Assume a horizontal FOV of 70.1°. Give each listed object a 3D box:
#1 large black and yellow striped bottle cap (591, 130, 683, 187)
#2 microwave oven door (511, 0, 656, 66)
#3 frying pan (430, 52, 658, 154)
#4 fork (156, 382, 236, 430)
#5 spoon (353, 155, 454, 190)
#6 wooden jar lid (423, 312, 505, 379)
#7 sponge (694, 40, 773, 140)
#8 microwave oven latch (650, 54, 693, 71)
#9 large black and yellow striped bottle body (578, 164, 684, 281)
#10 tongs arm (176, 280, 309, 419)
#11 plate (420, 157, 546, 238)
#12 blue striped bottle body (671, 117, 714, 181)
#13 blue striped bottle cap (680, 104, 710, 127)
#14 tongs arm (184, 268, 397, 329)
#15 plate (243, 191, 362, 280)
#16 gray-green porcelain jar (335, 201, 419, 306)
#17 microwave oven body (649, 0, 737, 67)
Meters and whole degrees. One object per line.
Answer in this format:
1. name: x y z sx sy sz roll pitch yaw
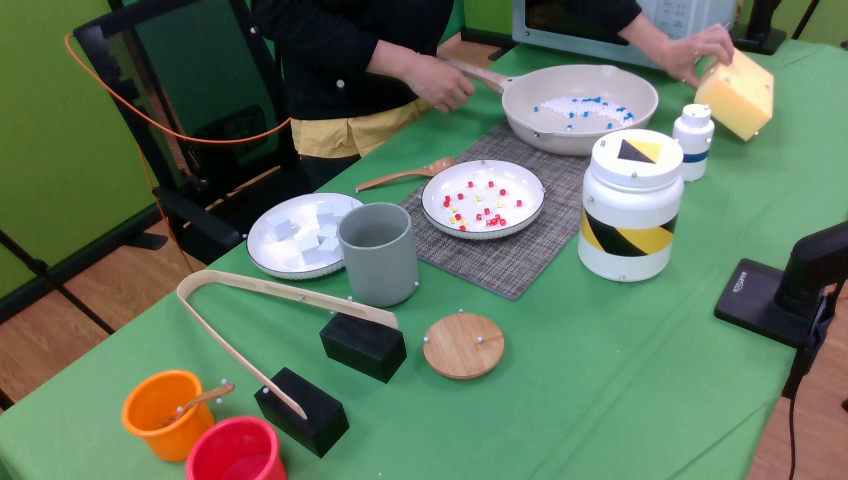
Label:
1. large black and yellow striped bottle cap: 0.282 -0.111 0.803 0.115 0.019 0.114 -3 41 3
2. microwave oven door: 0.351 -0.540 1.349 0.353 0.245 0.039 24 50 31
3. frying pan: 0.215 -0.302 1.224 0.484 0.103 0.308 28 49 24
4. fork: -0.262 0.189 0.690 0.018 0.206 0.028 49 43 -7
5. spoon: -0.038 -0.123 1.116 0.194 0.022 0.041 -12 58 -4
6. wooden jar lid: 0.053 0.142 0.800 0.108 0.021 0.108 -5 39 4
7. sponge: 0.582 -0.285 1.129 0.118 0.061 0.207 36 44 1
8. microwave oven latch: 0.531 -0.386 1.301 0.078 0.029 0.030 25 51 33
9. large black and yellow striped bottle body: 0.292 -0.046 0.859 0.131 0.185 0.130 -4 41 4
10. tongs arm: -0.254 0.133 0.801 0.028 0.028 0.384 -41 41 -23
11. plate: 0.099 -0.067 1.017 0.209 0.038 0.208 -4 40 4
12. blue striped bottle body: 0.449 -0.165 1.022 0.063 0.121 0.063 -5 41 4
13. blue striped bottle cap: 0.443 -0.205 0.989 0.044 0.021 0.044 -1 41 2
14. tongs arm: -0.202 0.084 0.848 0.382 0.027 0.051 11 45 35
15. plate: -0.188 -0.005 0.992 0.207 0.039 0.206 -4 41 4
16. gray-green porcelain jar: -0.064 0.024 0.872 0.106 0.127 0.105 -4 41 4
17. microwave oven body: 0.475 -0.602 1.411 0.438 0.261 0.327 23 50 32
